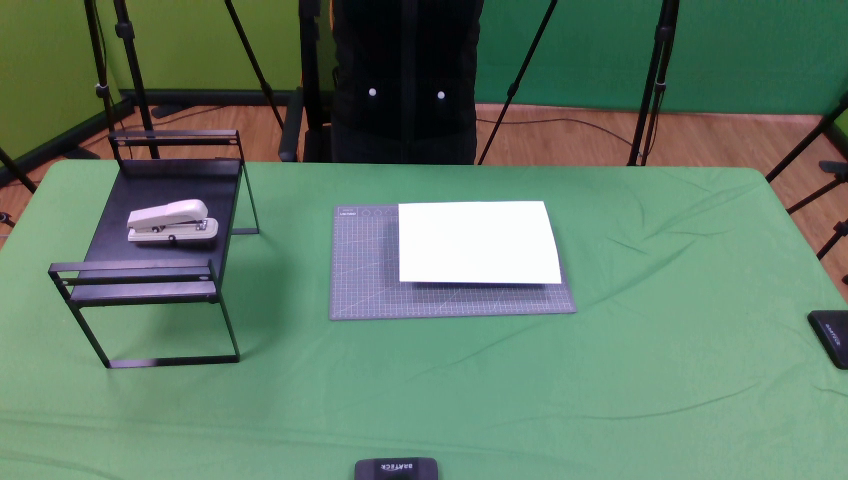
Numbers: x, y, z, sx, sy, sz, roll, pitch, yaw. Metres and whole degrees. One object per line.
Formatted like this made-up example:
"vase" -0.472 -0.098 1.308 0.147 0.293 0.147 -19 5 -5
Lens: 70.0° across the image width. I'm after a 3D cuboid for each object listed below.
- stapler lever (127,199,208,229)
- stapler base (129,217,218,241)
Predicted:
"stapler lever" -0.391 -0.039 0.922 0.118 0.040 0.026 -3 43 -6
"stapler base" -0.390 -0.023 0.940 0.131 0.024 0.041 -4 43 -5
